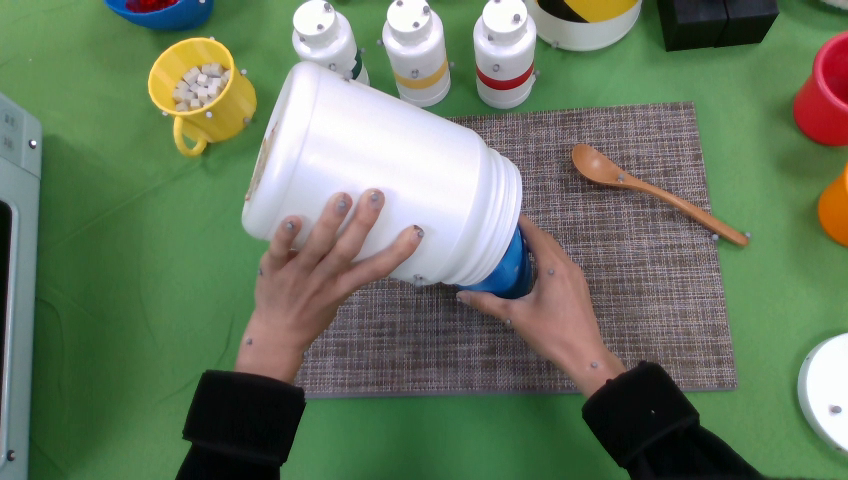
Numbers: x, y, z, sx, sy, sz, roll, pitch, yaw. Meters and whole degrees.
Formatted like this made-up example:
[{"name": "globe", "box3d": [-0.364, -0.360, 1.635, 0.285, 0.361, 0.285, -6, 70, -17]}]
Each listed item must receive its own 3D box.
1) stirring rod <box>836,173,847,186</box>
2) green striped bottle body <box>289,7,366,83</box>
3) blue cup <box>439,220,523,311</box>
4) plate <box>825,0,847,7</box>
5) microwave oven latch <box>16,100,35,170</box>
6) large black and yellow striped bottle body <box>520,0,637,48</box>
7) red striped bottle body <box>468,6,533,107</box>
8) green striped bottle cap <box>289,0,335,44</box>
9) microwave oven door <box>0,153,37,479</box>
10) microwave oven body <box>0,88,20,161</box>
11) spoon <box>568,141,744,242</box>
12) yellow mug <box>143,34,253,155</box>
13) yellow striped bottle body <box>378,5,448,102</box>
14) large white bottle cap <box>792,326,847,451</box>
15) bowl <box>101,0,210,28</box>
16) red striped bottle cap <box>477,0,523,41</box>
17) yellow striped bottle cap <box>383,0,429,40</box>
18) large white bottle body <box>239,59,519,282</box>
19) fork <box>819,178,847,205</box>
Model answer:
[{"name": "stirring rod", "box3d": [0.409, -0.023, 0.526, 0.014, 0.006, 0.175, 0, 29, 4]}, {"name": "green striped bottle body", "box3d": [-0.105, -0.204, 0.656, 0.063, 0.120, 0.063, -2, 71, 6]}, {"name": "blue cup", "box3d": [0.052, 0.021, 0.559, 0.092, 0.101, 0.092, -8, 61, 15]}, {"name": "plate", "box3d": [0.487, -0.339, 0.671, 0.209, 0.038, 0.208, -2, 72, 6]}, {"name": "microwave oven latch", "box3d": [-0.468, -0.119, 0.696, 0.030, 0.030, 0.078, -10, 72, 3]}, {"name": "large black and yellow striped bottle body", "box3d": [0.167, -0.304, 0.622, 0.130, 0.185, 0.130, -2, 72, 7]}, {"name": "red striped bottle body", "box3d": [0.081, -0.198, 0.632, 0.063, 0.120, 0.062, -4, 69, 11]}, {"name": "green striped bottle cap", "box3d": [-0.112, -0.220, 0.607, 0.044, 0.020, 0.044, -2, 71, 5]}, {"name": "microwave oven door", "box3d": [-0.445, 0.054, 0.530, 0.039, 0.245, 0.353, -12, 71, 4]}, {"name": "microwave oven body", "box3d": [-0.594, 0.045, 0.556, 0.326, 0.262, 0.438, -12, 72, 3]}, {"name": "spoon", "box3d": [0.232, -0.048, 0.612, 0.193, 0.022, 0.041, 29, 53, 14]}, {"name": "yellow mug", "box3d": [-0.259, -0.159, 0.688, 0.100, 0.064, 0.130, 7, 74, 8]}, {"name": "yellow striped bottle body", "box3d": [-0.011, -0.204, 0.644, 0.063, 0.121, 0.062, -2, 71, 7]}, {"name": "large white bottle cap", "box3d": [0.393, 0.133, 0.540, 0.115, 0.018, 0.114, -2, 71, 6]}, {"name": "bowl", "box3d": [-0.314, -0.316, 0.740, 0.151, 0.077, 0.150, -2, 72, 6]}, {"name": "red striped bottle cap", "box3d": [0.073, -0.215, 0.582, 0.044, 0.018, 0.044, -1, 70, 3]}, {"name": "yellow striped bottle cap", "box3d": [-0.018, -0.221, 0.596, 0.044, 0.019, 0.044, -2, 73, 6]}, {"name": "large white bottle body", "box3d": [-0.032, -0.043, 0.464, 0.186, 0.130, 0.130, 18, 72, -21]}, {"name": "fork", "box3d": [0.437, -0.021, 0.514, 0.028, 0.205, 0.019, -23, 115, -15]}]
